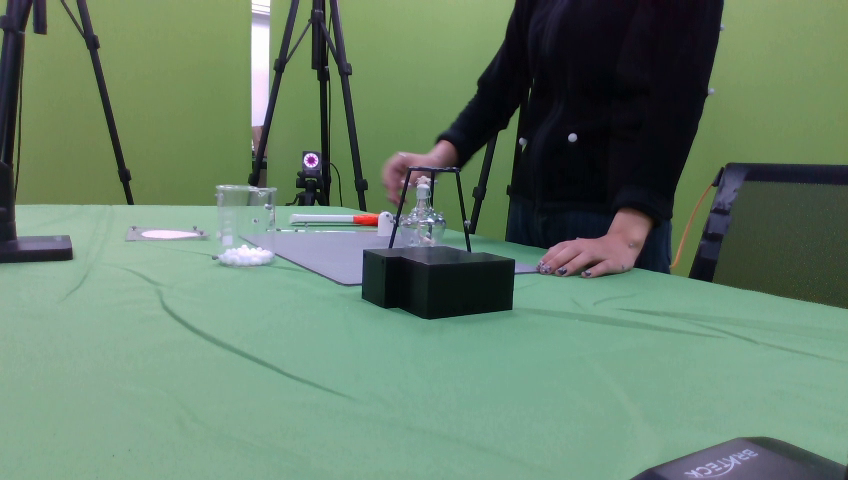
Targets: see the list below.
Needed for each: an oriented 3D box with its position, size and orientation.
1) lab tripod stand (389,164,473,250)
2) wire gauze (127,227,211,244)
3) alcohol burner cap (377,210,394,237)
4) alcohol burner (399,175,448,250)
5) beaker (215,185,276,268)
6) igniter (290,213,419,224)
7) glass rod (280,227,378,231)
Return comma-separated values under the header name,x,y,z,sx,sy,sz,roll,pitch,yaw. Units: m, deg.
name,x,y,z,sx,sy,sz,roll,pitch,yaw
lab tripod stand,0.011,-0.054,0.960,0.148,0.131,0.148,2,9,0
wire gauze,-0.420,-0.010,0.999,0.122,0.011,0.124,-2,10,-24
alcohol burner cap,-0.069,-0.031,1.112,0.034,0.048,0.034,2,8,0
alcohol burner,-0.001,-0.044,0.962,0.078,0.119,0.078,0,8,0
beaker,-0.226,-0.019,0.773,0.074,0.100,0.084,5,7,14
igniter,-0.143,-0.046,1.288,0.278,0.025,0.057,-1,-3,-24
glass rod,-0.175,-0.021,1.161,0.200,0.008,0.008,1,7,-15
